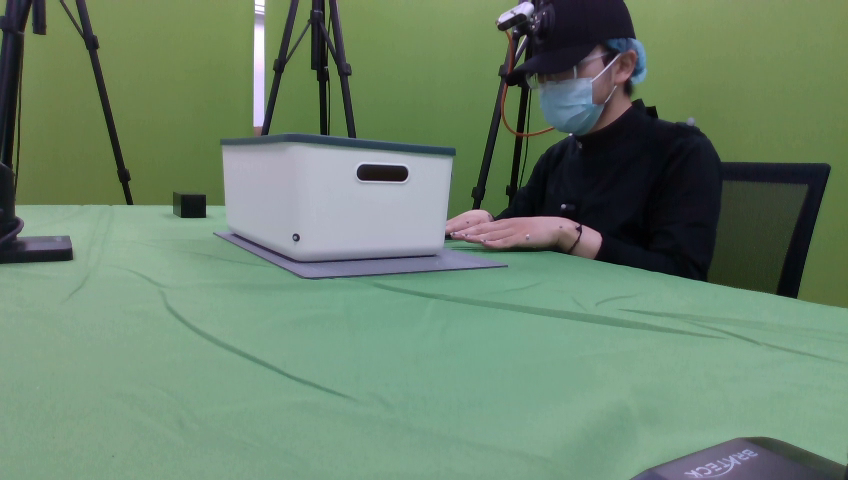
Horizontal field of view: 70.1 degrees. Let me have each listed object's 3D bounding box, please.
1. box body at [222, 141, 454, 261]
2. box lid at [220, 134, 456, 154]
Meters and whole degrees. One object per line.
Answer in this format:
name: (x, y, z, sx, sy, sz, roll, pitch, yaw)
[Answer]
box body: (-0.152, -0.074, 0.963, 0.255, 0.160, 0.362, -3, 9, -33)
box lid: (-0.148, -0.147, 0.951, 0.265, 0.015, 0.369, -2, 8, -33)
